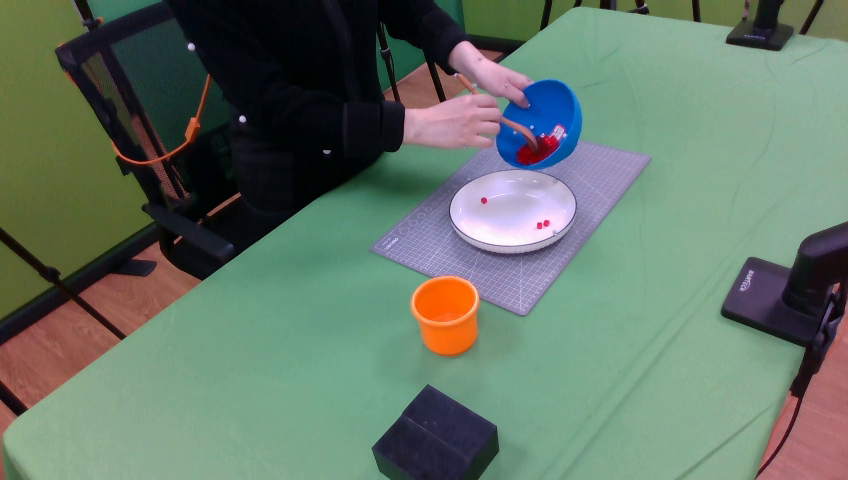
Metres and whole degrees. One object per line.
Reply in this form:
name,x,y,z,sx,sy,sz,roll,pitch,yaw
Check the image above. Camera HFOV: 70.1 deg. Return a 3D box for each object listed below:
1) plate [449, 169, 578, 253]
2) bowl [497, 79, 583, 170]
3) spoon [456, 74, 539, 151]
plate,0.147,-0.044,0.994,0.209,0.038,0.208,-5,40,5
bowl,0.201,-0.175,0.983,0.150,0.077,0.150,-19,61,40
spoon,0.118,-0.196,0.941,0.021,0.195,0.041,-51,33,15
